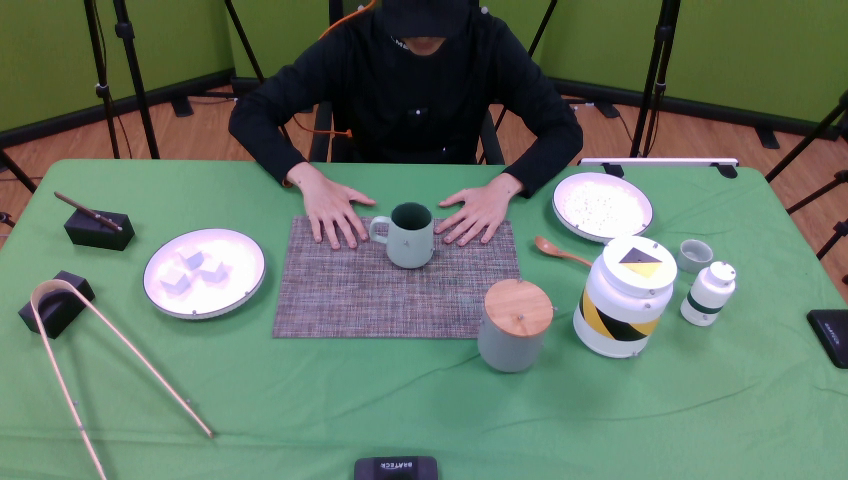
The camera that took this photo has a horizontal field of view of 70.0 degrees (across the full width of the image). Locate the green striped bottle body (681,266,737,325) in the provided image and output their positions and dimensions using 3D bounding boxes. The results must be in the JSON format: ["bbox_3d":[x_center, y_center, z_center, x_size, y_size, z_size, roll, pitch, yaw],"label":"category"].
[{"bbox_3d":[0.507,0.093,1.074,0.063,0.120,0.063,2,46,-2],"label":"green striped bottle body"}]

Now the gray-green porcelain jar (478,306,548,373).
[{"bbox_3d":[0.144,0.148,0.989,0.106,0.127,0.105,2,50,-2],"label":"gray-green porcelain jar"}]

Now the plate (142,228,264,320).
[{"bbox_3d":[-0.394,0.064,1.095,0.208,0.039,0.206,2,46,-2],"label":"plate"}]

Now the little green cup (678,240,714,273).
[{"bbox_3d":[0.530,0.033,1.190,0.061,0.039,0.061,2,46,-2],"label":"little green cup"}]

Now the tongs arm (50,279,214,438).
[{"bbox_3d":[-0.459,0.178,0.949,0.386,0.028,0.028,37,60,17],"label":"tongs arm"}]

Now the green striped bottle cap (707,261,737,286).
[{"bbox_3d":[0.510,0.057,1.036,0.044,0.020,0.044,1,45,0],"label":"green striped bottle cap"}]

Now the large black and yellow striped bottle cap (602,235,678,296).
[{"bbox_3d":[0.340,0.037,0.956,0.115,0.019,0.114,2,47,-2],"label":"large black and yellow striped bottle cap"}]

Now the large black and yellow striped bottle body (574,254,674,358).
[{"bbox_3d":[0.335,0.096,1.014,0.131,0.185,0.130,2,46,-2],"label":"large black and yellow striped bottle body"}]

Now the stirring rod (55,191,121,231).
[{"bbox_3d":[-0.632,-0.055,1.138,0.175,0.014,0.006,24,50,19],"label":"stirring rod"}]

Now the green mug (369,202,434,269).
[{"bbox_3d":[-0.042,-0.010,1.140,0.125,0.105,0.092,7,46,4],"label":"green mug"}]

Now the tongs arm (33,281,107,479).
[{"bbox_3d":[-0.517,0.214,0.910,0.051,0.026,0.383,-28,63,-27],"label":"tongs arm"}]

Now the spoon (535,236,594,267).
[{"bbox_3d":[0.303,0.040,1.178,0.193,0.022,0.041,25,31,19],"label":"spoon"}]

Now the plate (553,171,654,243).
[{"bbox_3d":[0.373,-0.066,1.275,0.209,0.038,0.208,2,46,-2],"label":"plate"}]

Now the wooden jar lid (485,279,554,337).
[{"bbox_3d":[0.147,0.108,0.940,0.108,0.021,0.107,4,47,-4],"label":"wooden jar lid"}]
